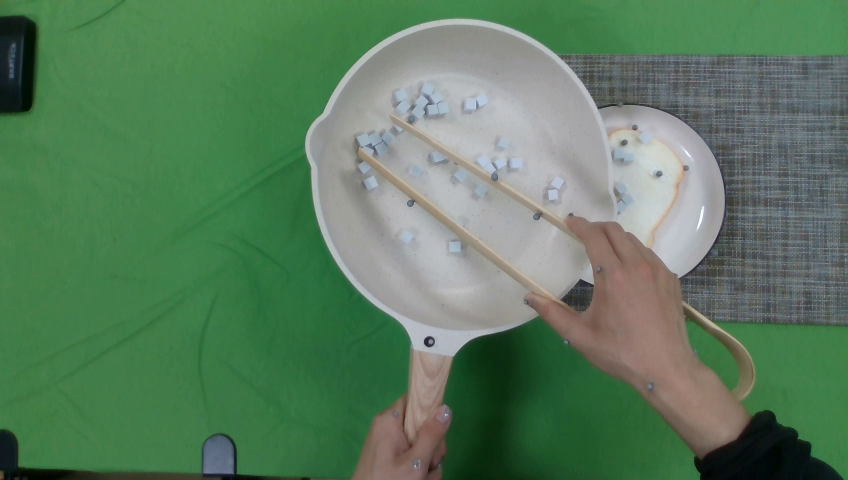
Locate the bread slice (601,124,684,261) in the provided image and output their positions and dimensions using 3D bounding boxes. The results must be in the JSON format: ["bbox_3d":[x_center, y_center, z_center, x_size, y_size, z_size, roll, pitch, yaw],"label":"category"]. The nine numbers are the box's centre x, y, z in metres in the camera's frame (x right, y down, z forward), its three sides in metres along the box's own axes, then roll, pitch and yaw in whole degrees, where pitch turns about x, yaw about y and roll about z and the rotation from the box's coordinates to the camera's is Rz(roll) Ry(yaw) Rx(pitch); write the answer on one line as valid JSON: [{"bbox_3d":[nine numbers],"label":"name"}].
[{"bbox_3d":[0.221,-0.059,0.673,0.107,0.018,0.134,25,91,5],"label":"bread slice"}]

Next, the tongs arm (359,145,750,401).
[{"bbox_3d":[0.097,0.025,0.525,0.386,0.028,0.028,35,76,11],"label":"tongs arm"}]

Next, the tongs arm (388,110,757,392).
[{"bbox_3d":[0.115,0.002,0.529,0.383,0.026,0.050,33,79,10],"label":"tongs arm"}]

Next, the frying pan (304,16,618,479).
[{"bbox_3d":[0.018,0.042,0.572,0.308,0.102,0.486,13,81,-13],"label":"frying pan"}]

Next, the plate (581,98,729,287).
[{"bbox_3d":[0.223,-0.051,0.670,0.207,0.039,0.207,0,86,5],"label":"plate"}]
